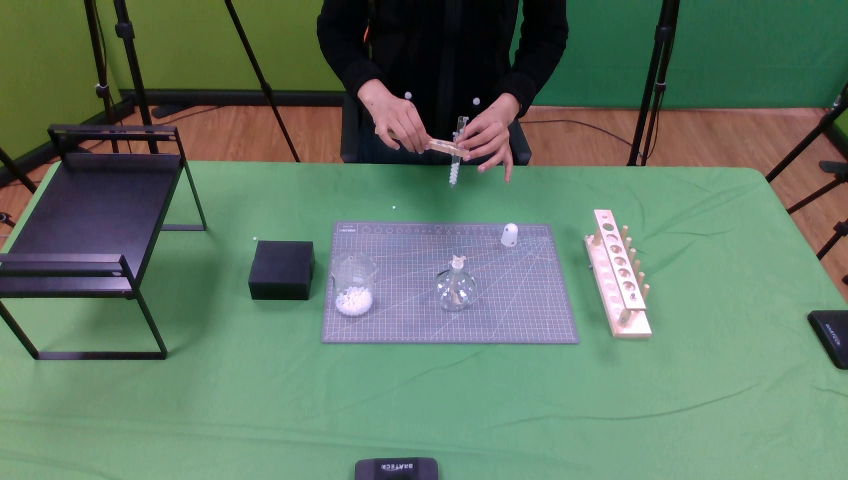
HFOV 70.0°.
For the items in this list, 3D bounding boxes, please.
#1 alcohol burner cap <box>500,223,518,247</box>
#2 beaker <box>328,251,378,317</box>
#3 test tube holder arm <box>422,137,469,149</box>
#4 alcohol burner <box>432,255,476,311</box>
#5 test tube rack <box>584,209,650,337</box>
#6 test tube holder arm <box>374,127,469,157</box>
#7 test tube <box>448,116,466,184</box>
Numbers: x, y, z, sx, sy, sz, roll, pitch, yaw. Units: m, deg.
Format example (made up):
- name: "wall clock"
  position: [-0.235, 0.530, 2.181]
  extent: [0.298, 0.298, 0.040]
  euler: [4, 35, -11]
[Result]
- name: "alcohol burner cap"
  position: [0.172, -0.013, 1.206]
  extent: [0.034, 0.048, 0.033]
  euler: [2, 45, -1]
- name: "beaker"
  position: [-0.123, 0.079, 1.055]
  extent: [0.084, 0.101, 0.073]
  euler: [0, 47, -5]
- name: "test tube holder arm"
  position: [0.039, -0.175, 1.112]
  extent: [0.088, 0.015, 0.010]
  euler: [9, 43, -2]
- name: "alcohol burner"
  position: [0.055, 0.070, 1.068]
  extent: [0.078, 0.119, 0.077]
  euler: [3, 45, -3]
- name: "test tube rack"
  position: [0.365, 0.056, 1.129]
  extent: [0.067, 0.085, 0.240]
  euler: [1, 46, -4]
- name: "test tube holder arm"
  position: [-0.006, -0.180, 1.109]
  extent: [0.178, 0.015, 0.013]
  euler: [14, 42, 3]
- name: "test tube"
  position: [0.060, -0.162, 1.113]
  extent: [0.017, 0.151, 0.017]
  euler: [4, 45, -4]
